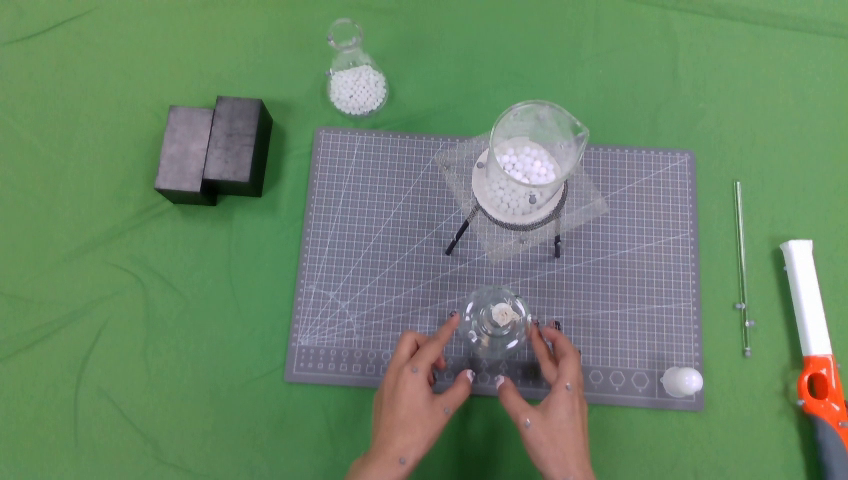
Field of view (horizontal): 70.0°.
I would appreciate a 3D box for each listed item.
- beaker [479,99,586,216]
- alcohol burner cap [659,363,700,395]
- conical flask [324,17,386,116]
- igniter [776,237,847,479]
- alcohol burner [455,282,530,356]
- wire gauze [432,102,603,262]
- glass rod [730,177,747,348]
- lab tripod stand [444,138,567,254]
[{"bbox_3d":[0.088,-0.067,0.522,0.084,0.100,0.073,-17,78,-4],"label":"beaker"},{"bbox_3d":[0.270,0.145,0.635,0.034,0.048,0.033,0,75,0],"label":"alcohol burner cap"},{"bbox_3d":[-0.083,-0.198,0.679,0.075,0.122,0.075,0,75,0],"label":"conical flask"},{"bbox_3d":[0.420,0.132,0.649,0.057,0.025,0.275,0,76,-11],"label":"igniter"},{"bbox_3d":[0.072,0.078,0.614,0.078,0.119,0.077,0,75,-1],"label":"alcohol burner"},{"bbox_3d":[0.088,-0.056,0.569,0.125,0.011,0.121,-25,81,-7],"label":"wire gauze"},{"bbox_3d":[0.356,0.022,0.686,0.008,0.008,0.198,3,76,0],"label":"glass rod"},{"bbox_3d":[0.087,-0.035,0.632,0.148,0.132,0.147,0,78,0],"label":"lab tripod stand"}]
